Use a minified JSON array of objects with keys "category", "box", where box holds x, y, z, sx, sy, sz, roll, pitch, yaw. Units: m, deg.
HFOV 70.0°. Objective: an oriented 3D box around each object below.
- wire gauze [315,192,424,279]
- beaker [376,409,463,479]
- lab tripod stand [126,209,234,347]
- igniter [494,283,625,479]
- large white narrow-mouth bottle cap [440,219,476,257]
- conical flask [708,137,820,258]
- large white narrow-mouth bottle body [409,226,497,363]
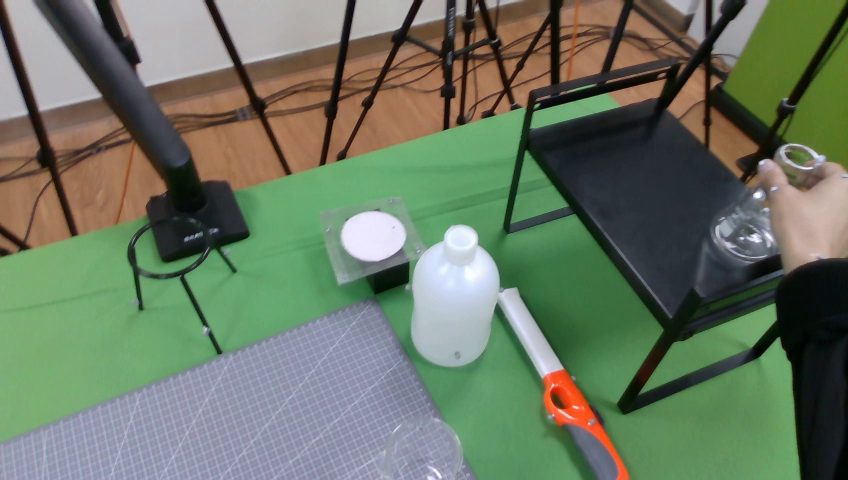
[{"category":"wire gauze","box":[-0.072,-0.012,0.796,0.122,0.011,0.123,-14,53,-14]},{"category":"beaker","box":[-0.006,0.227,0.608,0.084,0.101,0.073,-16,53,-14]},{"category":"lab tripod stand","box":[-0.284,0.041,0.723,0.148,0.132,0.147,3,51,-3]},{"category":"igniter","box":[0.155,0.163,0.719,0.057,0.025,0.273,-9,51,-24]},{"category":"large white narrow-mouth bottle cap","box":[0.035,-0.002,0.626,0.038,0.024,0.037,2,51,-2]},{"category":"conical flask","box":[0.342,-0.045,0.605,0.075,0.123,0.074,2,51,-2]},{"category":"large white narrow-mouth bottle body","box":[0.032,0.054,0.692,0.102,0.196,0.101,1,51,-1]}]
